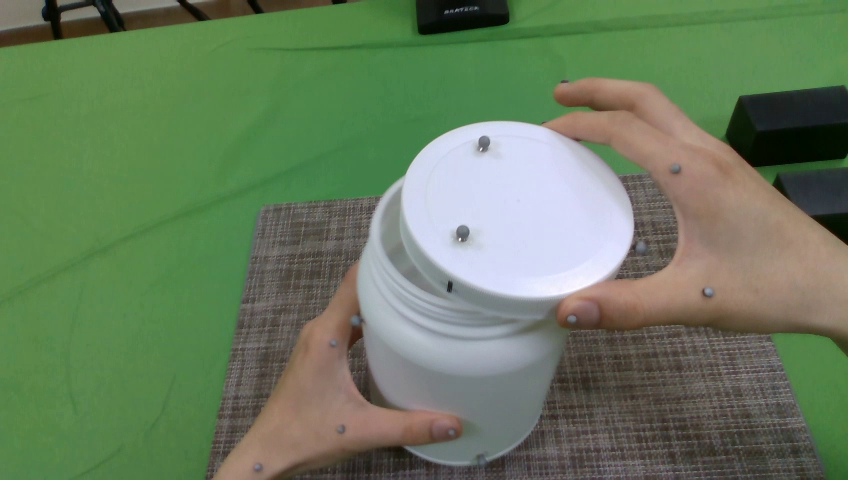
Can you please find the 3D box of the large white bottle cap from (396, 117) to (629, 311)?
[{"bbox_3d":[0.044,-0.017,0.300,0.115,0.018,0.113,3,53,-4],"label":"large white bottle cap"}]

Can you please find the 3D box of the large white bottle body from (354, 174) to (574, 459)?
[{"bbox_3d":[0.024,0.048,0.392,0.130,0.186,0.129,1,51,-1],"label":"large white bottle body"}]
